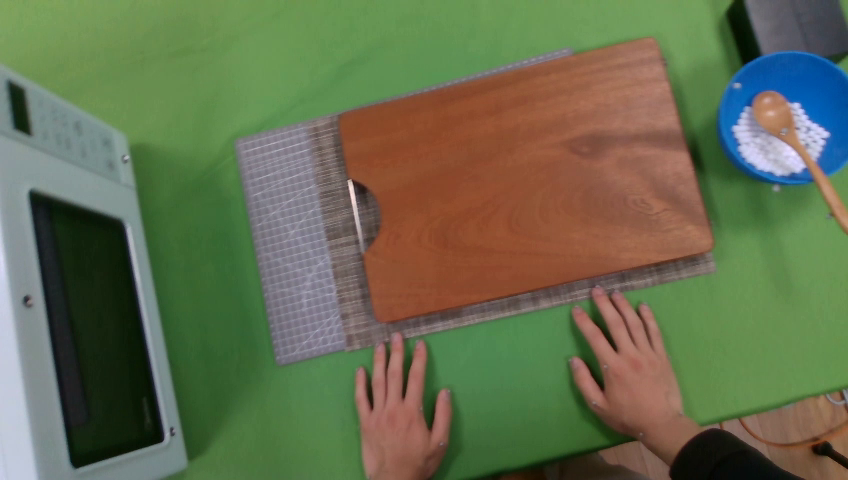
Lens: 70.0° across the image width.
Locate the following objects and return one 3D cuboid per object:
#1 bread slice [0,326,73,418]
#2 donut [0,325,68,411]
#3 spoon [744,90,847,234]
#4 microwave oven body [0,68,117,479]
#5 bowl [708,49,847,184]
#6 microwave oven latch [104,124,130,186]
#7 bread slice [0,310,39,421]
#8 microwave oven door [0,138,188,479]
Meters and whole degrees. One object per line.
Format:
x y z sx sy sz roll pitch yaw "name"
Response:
-0.484 0.159 0.711 0.132 0.019 0.105 -4 88 -4 "bread slice"
-0.455 0.143 0.680 0.099 0.048 0.099 -1 97 -8 "donut"
0.402 -0.088 0.652 0.041 0.022 0.191 -14 58 1 "spoon"
-0.508 0.089 0.659 0.326 0.261 0.440 -16 81 3 "microwave oven body"
0.392 -0.130 0.690 0.151 0.077 0.151 -1 82 6 "bowl"
-0.401 -0.105 0.772 0.030 0.029 0.079 -16 81 3 "microwave oven latch"
-0.466 0.148 0.632 0.134 0.018 0.106 -30 82 15 "bread slice"
-0.358 0.087 0.638 0.039 0.245 0.354 -17 80 4 "microwave oven door"
